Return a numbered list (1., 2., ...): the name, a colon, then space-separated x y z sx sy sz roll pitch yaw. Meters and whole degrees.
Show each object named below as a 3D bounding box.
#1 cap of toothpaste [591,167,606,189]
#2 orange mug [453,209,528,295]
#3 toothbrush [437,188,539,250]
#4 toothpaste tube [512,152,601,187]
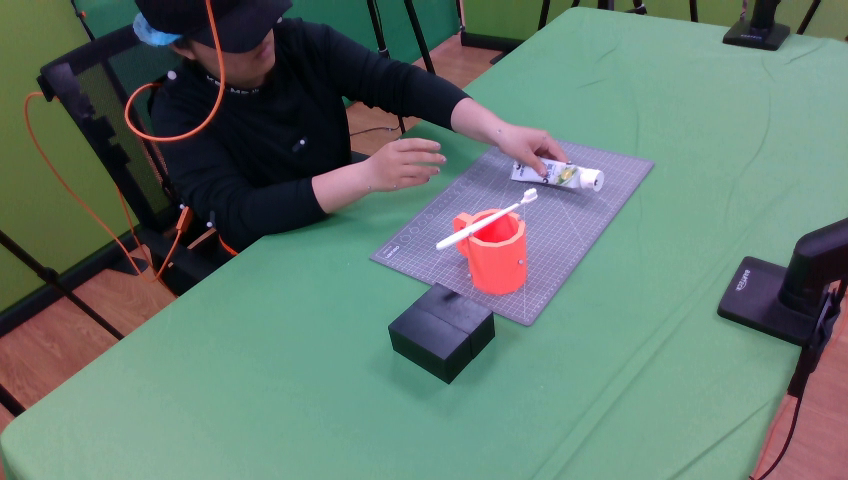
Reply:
1. cap of toothpaste: 0.288 -0.103 1.002 0.011 0.037 0.037 18 47 40
2. orange mug: 0.095 0.009 0.894 0.125 0.101 0.084 32 55 33
3. toothbrush: 0.093 -0.031 0.859 0.182 0.017 0.014 -28 51 -21
4. toothpaste tube: 0.230 -0.120 1.051 0.163 0.035 0.055 14 78 38
